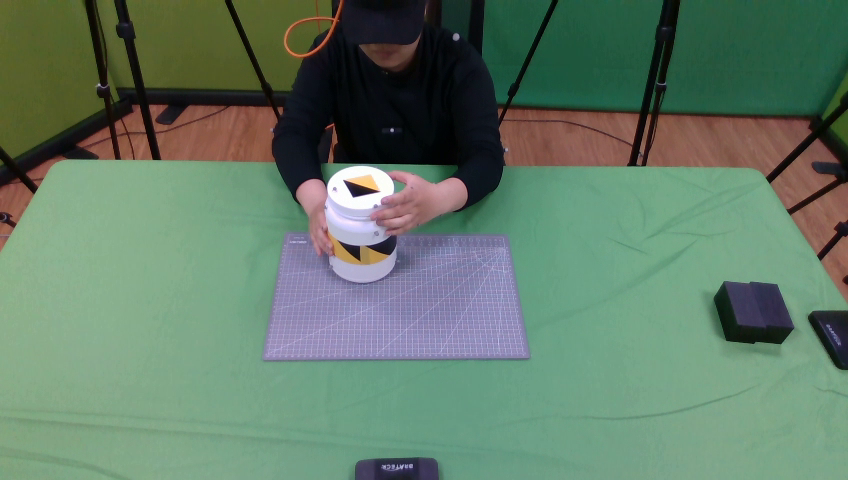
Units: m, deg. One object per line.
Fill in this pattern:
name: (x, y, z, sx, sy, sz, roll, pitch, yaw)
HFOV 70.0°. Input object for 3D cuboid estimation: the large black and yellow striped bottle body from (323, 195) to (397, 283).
large black and yellow striped bottle body: (-0.114, -0.026, 1.099, 0.131, 0.185, 0.130, 2, 46, -2)

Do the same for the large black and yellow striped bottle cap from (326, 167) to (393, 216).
large black and yellow striped bottle cap: (-0.110, -0.085, 1.038, 0.115, 0.019, 0.114, 3, 45, -3)
